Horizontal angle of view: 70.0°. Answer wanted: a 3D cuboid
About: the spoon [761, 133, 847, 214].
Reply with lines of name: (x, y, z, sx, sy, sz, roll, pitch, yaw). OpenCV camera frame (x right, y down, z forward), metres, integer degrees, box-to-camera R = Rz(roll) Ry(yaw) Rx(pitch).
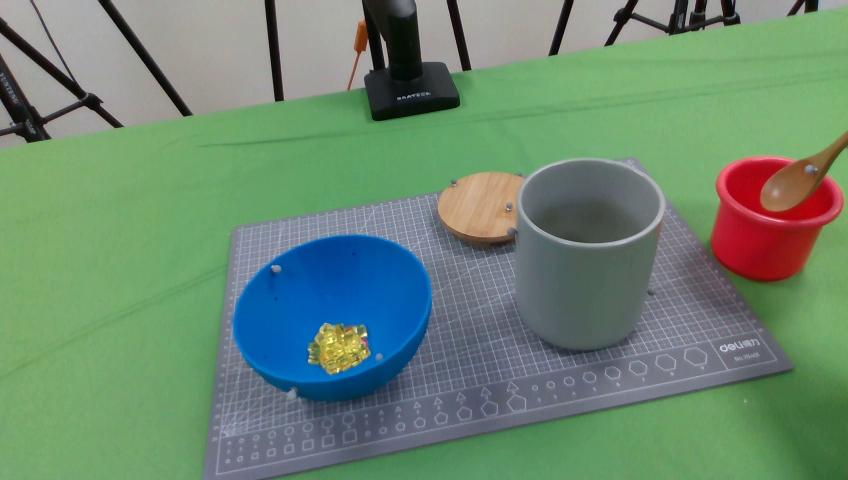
spoon: (0.305, -0.071, 0.427, 0.021, 0.195, 0.041, 11, 65, -1)

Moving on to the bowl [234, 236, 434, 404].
bowl: (-0.064, 0.075, 0.480, 0.151, 0.077, 0.150, -4, 42, 4)

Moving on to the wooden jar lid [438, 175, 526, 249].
wooden jar lid: (0.069, -0.028, 0.622, 0.108, 0.021, 0.107, -4, 41, 4)

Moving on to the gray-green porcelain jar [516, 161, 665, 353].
gray-green porcelain jar: (0.126, 0.019, 0.479, 0.106, 0.128, 0.105, -4, 42, 4)
